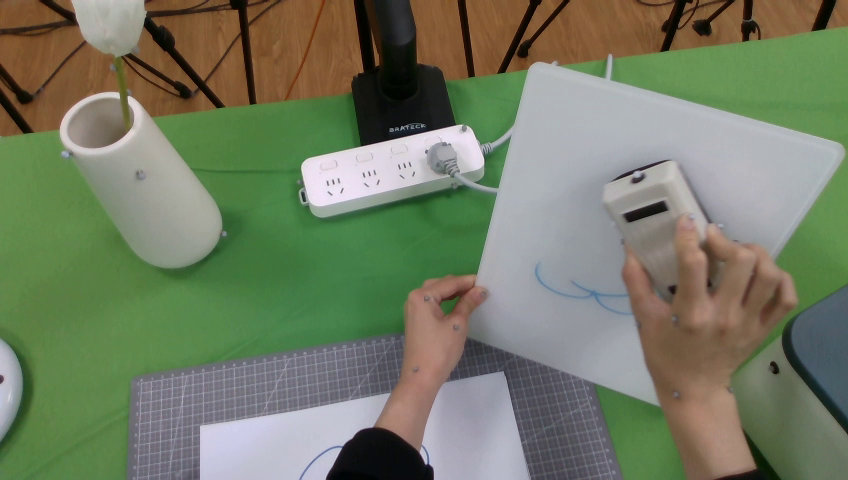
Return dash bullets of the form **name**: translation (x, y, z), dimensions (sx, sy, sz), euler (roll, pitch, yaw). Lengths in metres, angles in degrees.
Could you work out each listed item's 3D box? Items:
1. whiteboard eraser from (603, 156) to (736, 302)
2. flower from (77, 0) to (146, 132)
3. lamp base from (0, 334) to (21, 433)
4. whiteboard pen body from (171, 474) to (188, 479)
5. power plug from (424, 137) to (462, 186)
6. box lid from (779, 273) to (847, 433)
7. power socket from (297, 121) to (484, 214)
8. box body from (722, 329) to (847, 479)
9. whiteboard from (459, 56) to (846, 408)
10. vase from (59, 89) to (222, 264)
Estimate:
- **whiteboard eraser**: translation (0.183, -0.007, 0.450), dimensions (0.055, 0.113, 0.041), euler (-22, 25, 35)
- **flower**: translation (-0.252, -0.090, 0.522), dimensions (0.038, 0.363, 0.044), euler (39, 58, 1)
- **lamp base**: translation (-0.483, 0.112, 0.515), dimensions (0.178, 0.182, 0.160), euler (20, 63, 14)
- **whiteboard pen body**: translation (-0.218, 0.274, 0.515), dimensions (0.017, 0.017, 0.139), euler (-1, 64, -1)
- **power plug**: translation (0.020, -0.083, 0.682), dimensions (0.035, 0.053, 0.072), euler (-4, 68, -3)
- **box lid**: translation (0.465, 0.152, 0.425), dimensions (0.263, 0.015, 0.368), euler (-26, 65, -13)
- **power socket**: translation (-0.037, -0.086, 0.708), dimensions (0.227, 0.033, 0.071), euler (-13, 63, -8)
- **box body**: translation (0.466, 0.190, 0.490), dimensions (0.254, 0.161, 0.360), euler (-26, 65, -13)
- **whiteboard**: translation (0.180, -0.022, 0.556), dimensions (0.216, 0.308, 0.143), euler (19, 43, 11)
- **vase**: translation (-0.273, -0.055, 0.596), dimensions (0.098, 0.201, 0.097), euler (0, 61, 1)
